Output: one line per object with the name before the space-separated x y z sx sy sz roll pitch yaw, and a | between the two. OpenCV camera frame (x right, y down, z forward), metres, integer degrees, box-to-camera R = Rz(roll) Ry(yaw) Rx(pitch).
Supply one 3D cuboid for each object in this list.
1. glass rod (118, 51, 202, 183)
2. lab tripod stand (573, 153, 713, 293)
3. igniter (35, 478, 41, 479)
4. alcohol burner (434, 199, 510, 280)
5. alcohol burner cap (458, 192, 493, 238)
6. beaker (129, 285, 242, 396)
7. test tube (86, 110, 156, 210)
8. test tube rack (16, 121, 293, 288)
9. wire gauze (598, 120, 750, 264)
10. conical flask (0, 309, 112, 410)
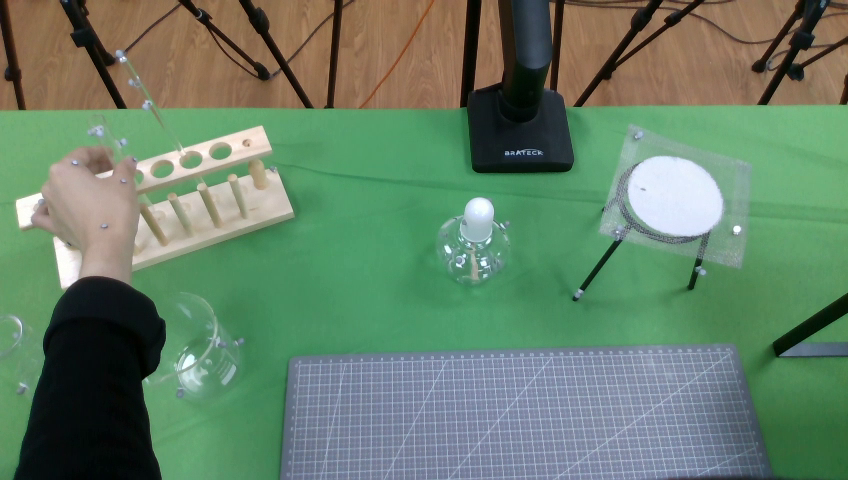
glass rod | -0.244 -0.100 0.587 0.008 0.201 0.008 -3 56 4
lab tripod stand | 0.221 -0.012 0.604 0.148 0.132 0.147 2 61 -2
igniter | -0.391 0.288 0.431 0.057 0.025 0.276 40 64 16
alcohol burner | 0.050 -0.008 0.609 0.078 0.120 0.077 2 60 -2
alcohol burner cap | 0.050 -0.027 0.577 0.034 0.048 0.033 1 61 -2
beaker | -0.212 0.099 0.551 0.074 0.101 0.083 13 63 6
test tube | -0.288 -0.071 0.585 0.017 0.151 0.017 2 61 -4
test tube rack | -0.268 -0.037 0.628 0.243 0.086 0.066 -20 64 -12
wire gauze | 0.229 -0.045 0.546 0.121 0.011 0.124 19 64 6
conical flask | -0.337 0.099 0.532 0.075 0.123 0.074 1 61 -1
